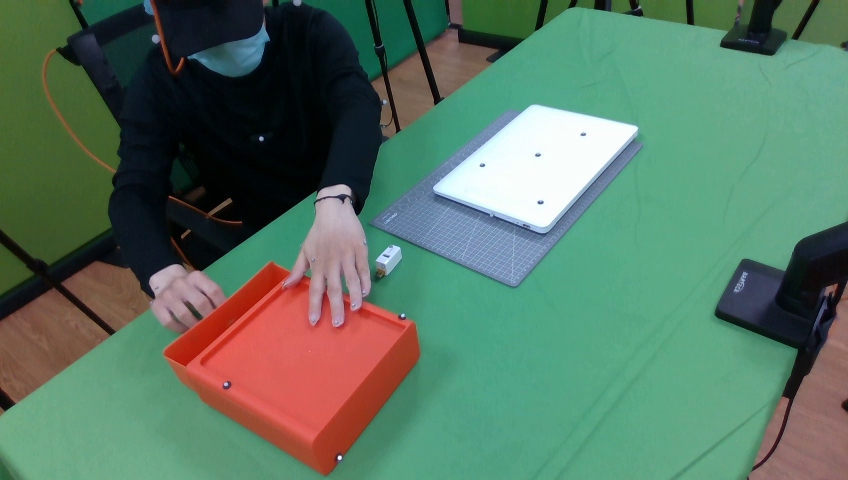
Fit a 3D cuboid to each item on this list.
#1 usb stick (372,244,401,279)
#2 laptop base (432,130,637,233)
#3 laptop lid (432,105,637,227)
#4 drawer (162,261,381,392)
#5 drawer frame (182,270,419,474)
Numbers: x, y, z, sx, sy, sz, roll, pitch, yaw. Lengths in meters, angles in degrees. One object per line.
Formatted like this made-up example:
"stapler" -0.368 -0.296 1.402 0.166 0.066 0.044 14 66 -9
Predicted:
"usb stick" -0.061 0.035 0.938 0.021 0.027 0.059 19 50 27
"laptop base" 0.210 -0.142 1.111 0.233 0.023 0.355 21 47 34
"laptop lid" 0.207 -0.152 1.105 0.239 0.013 0.358 23 49 34
"drawer" -0.190 0.139 0.790 0.210 0.073 0.195 20 47 28
"drawer frame" -0.149 0.153 0.767 0.212 0.083 0.202 19 46 27
